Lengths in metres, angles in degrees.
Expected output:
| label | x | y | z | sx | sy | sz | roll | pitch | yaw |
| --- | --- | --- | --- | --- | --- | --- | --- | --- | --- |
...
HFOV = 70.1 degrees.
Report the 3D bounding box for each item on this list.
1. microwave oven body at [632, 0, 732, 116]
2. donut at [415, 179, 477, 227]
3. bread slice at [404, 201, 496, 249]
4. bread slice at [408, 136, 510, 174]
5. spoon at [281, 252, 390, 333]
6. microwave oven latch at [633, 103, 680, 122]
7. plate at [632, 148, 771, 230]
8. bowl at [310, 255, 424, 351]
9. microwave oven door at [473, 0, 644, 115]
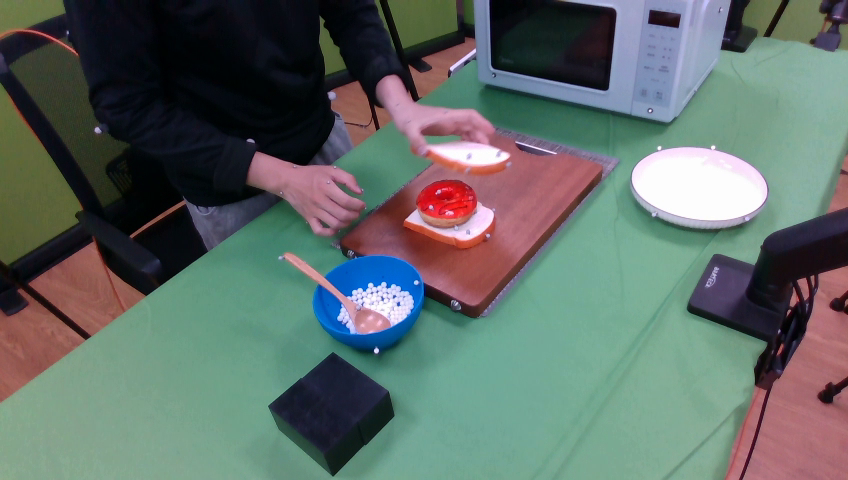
| label | x | y | z | sx | sy | sz | roll | pitch | yaw |
| --- | --- | --- | --- | --- | --- | --- | --- | --- | --- |
| microwave oven body | 0.377 | -0.462 | 1.267 | 0.438 | 0.261 | 0.327 | 21 | 49 | 30 |
| donut | 0.035 | -0.058 | 0.944 | 0.099 | 0.048 | 0.098 | -5 | 39 | 4 |
| bread slice | 0.048 | -0.034 | 0.961 | 0.130 | 0.019 | 0.105 | 22 | 49 | 32 |
| bread slice | 0.061 | -0.127 | 0.906 | 0.107 | 0.018 | 0.133 | -21 | 33 | -40 |
| spoon | -0.122 | 0.070 | 0.811 | 0.193 | 0.022 | 0.042 | 38 | 64 | 16 |
| microwave oven latch | 0.444 | -0.249 | 1.157 | 0.078 | 0.029 | 0.030 | 21 | 49 | 30 |
| plate | 0.447 | -0.081 | 0.988 | 0.207 | 0.039 | 0.206 | -4 | 40 | 4 |
| bowl | -0.072 | 0.098 | 0.821 | 0.151 | 0.077 | 0.150 | -4 | 40 | 4 |
| microwave oven door | 0.257 | -0.396 | 1.199 | 0.353 | 0.245 | 0.039 | 21 | 48 | 29 |
